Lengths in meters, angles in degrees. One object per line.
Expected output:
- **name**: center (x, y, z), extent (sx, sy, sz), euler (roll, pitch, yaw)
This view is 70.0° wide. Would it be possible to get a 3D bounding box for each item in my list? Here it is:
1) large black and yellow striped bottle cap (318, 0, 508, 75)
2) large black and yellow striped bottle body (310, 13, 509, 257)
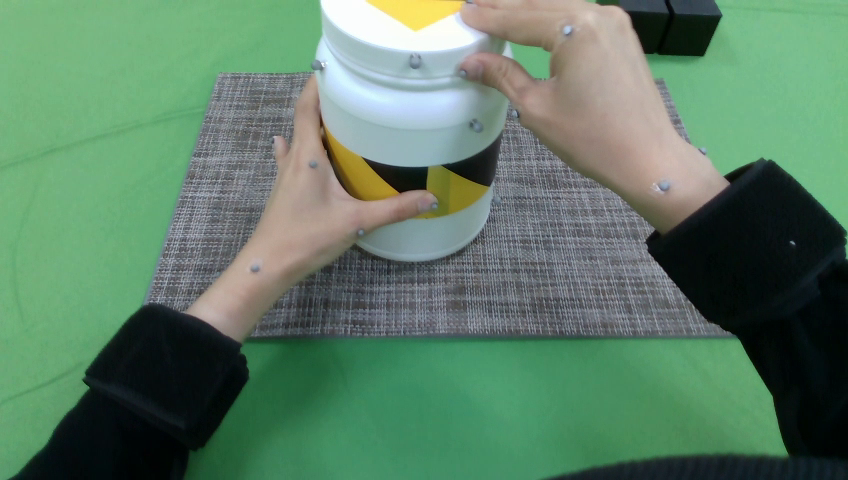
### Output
- **large black and yellow striped bottle cap**: center (-0.006, -0.143, 0.365), extent (0.115, 0.019, 0.114), euler (1, 54, -1)
- **large black and yellow striped bottle body**: center (-0.010, -0.090, 0.431), extent (0.131, 0.185, 0.129), euler (1, 52, -1)
